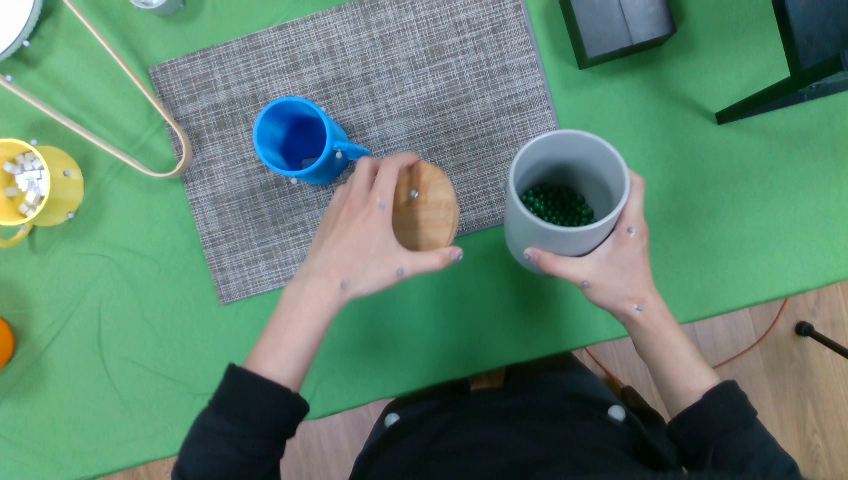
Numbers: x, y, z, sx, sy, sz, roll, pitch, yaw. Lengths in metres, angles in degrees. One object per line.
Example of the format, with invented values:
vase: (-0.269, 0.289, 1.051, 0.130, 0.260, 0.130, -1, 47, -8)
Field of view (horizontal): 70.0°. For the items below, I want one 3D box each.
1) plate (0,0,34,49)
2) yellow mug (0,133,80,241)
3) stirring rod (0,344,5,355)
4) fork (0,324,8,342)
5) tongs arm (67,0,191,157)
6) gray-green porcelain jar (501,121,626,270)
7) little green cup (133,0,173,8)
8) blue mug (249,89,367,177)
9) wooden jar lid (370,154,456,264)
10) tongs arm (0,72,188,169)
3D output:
plate: (-0.560, -0.314, 0.724, 0.207, 0.039, 0.207, 0, 93, 3)
yellow mug: (-0.481, -0.059, 0.718, 0.100, 0.064, 0.131, 22, 94, 1)
stirring rod: (-0.586, 0.136, 0.691, 0.006, 0.177, 0.014, -24, 73, 46)
fork: (-0.599, 0.121, 0.688, 0.208, 0.018, 0.028, -4, 91, -41)
tongs arm: (-0.403, -0.255, 0.704, 0.028, 0.027, 0.388, -41, 97, -5)
gray-green porcelain jar: (0.128, -0.036, 0.587, 0.106, 0.127, 0.105, -1, 66, 4)
little green cup: (-0.323, -0.305, 0.714, 0.061, 0.038, 0.061, 0, 93, 2)
blue mug: (-0.121, -0.113, 0.676, 0.116, 0.106, 0.082, 9, 92, 2)
wooden jar lid: (-0.010, -0.029, 0.594, 0.108, 0.021, 0.108, -3, 86, 43)
tongs arm: (-0.458, -0.190, 0.706, 0.386, 0.026, 0.051, 35, 90, -6)
